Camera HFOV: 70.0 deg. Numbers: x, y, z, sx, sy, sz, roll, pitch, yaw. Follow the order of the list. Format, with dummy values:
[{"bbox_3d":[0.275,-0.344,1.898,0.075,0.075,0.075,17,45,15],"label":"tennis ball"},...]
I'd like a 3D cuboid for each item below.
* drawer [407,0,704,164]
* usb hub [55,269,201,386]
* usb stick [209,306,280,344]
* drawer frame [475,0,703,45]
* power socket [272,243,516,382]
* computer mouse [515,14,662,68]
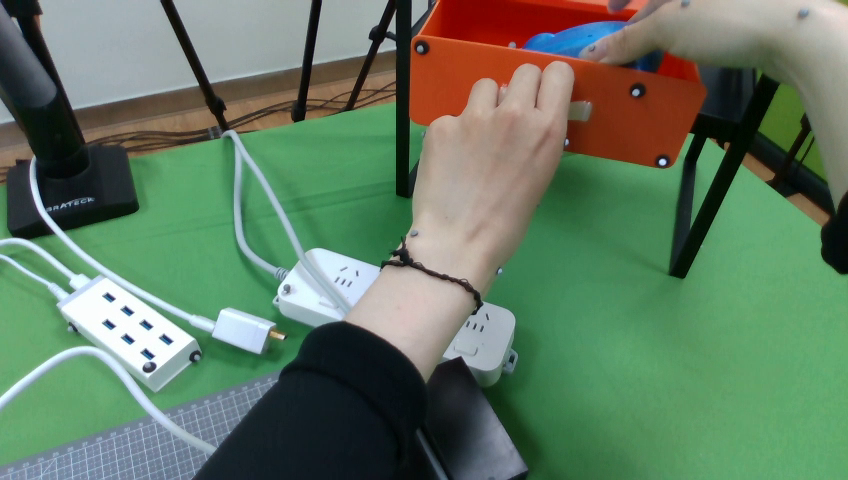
[{"bbox_3d":[0.106,-0.164,0.484,0.194,0.074,0.210,12,46,7],"label":"drawer"},{"bbox_3d":[-0.255,0.073,0.519,0.124,0.025,0.049,27,50,22],"label":"usb hub"},{"bbox_3d":[-0.152,0.074,0.521,0.059,0.021,0.027,13,87,-10],"label":"usb stick"},{"bbox_3d":[0.124,-0.226,0.544,0.201,0.083,0.212,9,45,6],"label":"drawer frame"},{"bbox_3d":[-0.027,0.061,0.540,0.226,0.033,0.072,17,47,13],"label":"power socket"},{"bbox_3d":[0.108,-0.136,0.435,0.116,0.041,0.062,6,35,32],"label":"computer mouse"}]
